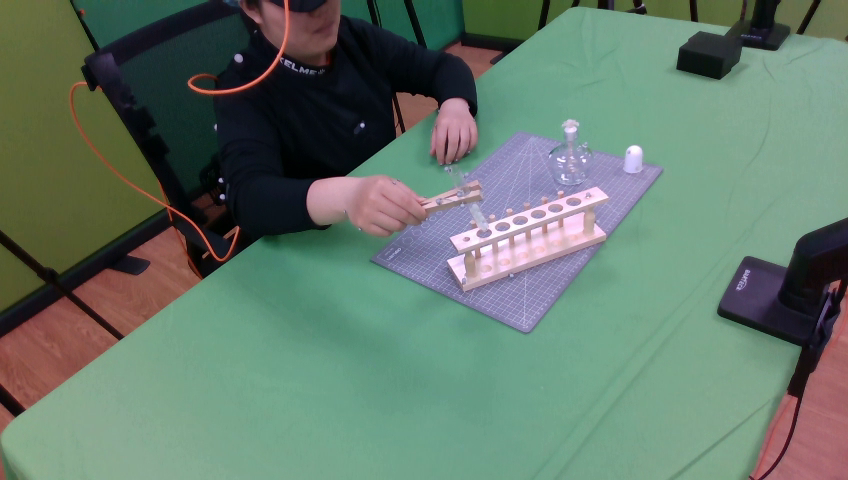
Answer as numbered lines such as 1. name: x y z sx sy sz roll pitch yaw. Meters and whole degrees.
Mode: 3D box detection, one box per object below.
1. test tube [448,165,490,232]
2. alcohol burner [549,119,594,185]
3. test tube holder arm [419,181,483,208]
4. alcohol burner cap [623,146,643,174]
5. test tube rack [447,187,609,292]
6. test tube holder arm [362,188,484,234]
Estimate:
1. test tube: 0.061 -0.051 0.794 0.017 0.151 0.017 -10 58 18
2. alcohol burner: 0.254 -0.155 1.043 0.078 0.120 0.077 -7 40 6
3. test tube holder arm: 0.035 -0.055 0.790 0.087 0.015 0.010 -22 46 18
4. alcohol burner cap: 0.369 -0.143 1.061 0.034 0.048 0.033 -7 41 6
5. test tube rack: 0.155 -0.011 0.913 0.243 0.085 0.066 -19 41 -11
6. test tube holder arm: -0.005 -0.037 0.802 0.178 0.015 0.013 -17 47 22
